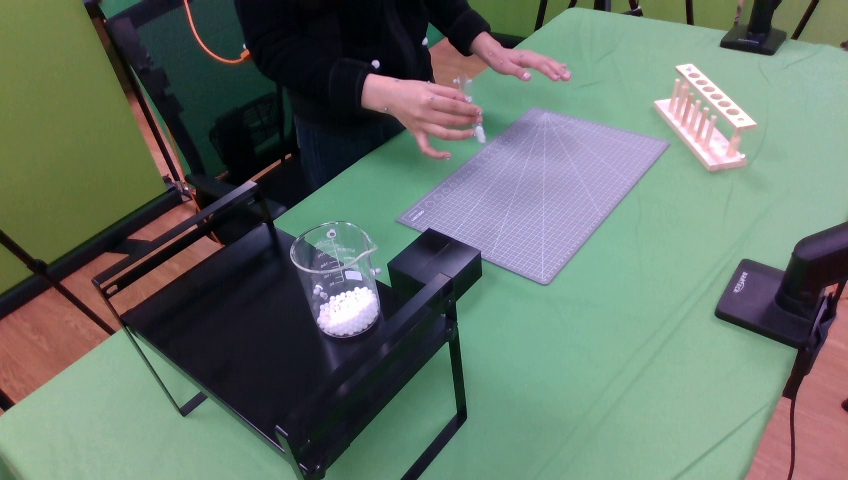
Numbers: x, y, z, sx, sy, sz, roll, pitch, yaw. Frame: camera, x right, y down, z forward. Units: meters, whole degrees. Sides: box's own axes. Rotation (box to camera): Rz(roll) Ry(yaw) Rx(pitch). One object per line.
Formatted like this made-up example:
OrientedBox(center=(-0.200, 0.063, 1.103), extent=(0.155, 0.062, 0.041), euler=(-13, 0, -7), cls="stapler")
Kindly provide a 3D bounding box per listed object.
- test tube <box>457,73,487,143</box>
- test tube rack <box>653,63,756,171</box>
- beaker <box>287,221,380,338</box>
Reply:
OrientedBox(center=(0.077, -0.201, 0.939), extent=(0.017, 0.151, 0.017), euler=(-8, 58, 14), cls="test tube")
OrientedBox(center=(0.510, -0.233, 1.120), extent=(0.067, 0.085, 0.241), euler=(-9, 41, -1), cls="test tube rack")
OrientedBox(center=(-0.083, 0.042, 0.602), extent=(0.084, 0.101, 0.073), euler=(-5, 41, 3), cls="beaker")
